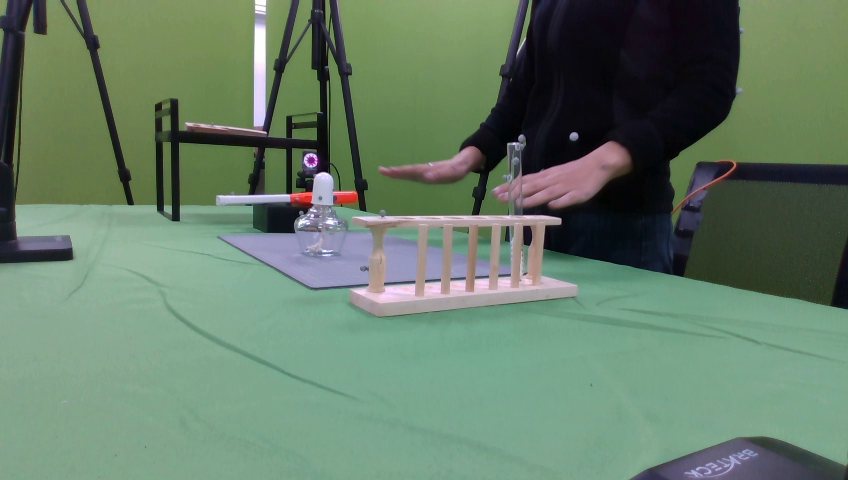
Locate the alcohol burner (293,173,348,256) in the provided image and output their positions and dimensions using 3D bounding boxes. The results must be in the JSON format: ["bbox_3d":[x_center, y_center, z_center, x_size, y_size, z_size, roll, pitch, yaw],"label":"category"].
[{"bbox_3d":[-0.146,-0.036,0.859,0.078,0.119,0.078,4,8,0],"label":"alcohol burner"}]

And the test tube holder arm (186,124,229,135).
[{"bbox_3d":[-0.465,-0.236,1.300,0.088,0.015,0.010,-2,47,-41],"label":"test tube holder arm"}]

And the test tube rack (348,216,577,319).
[{"bbox_3d":[0.048,0.021,0.619,0.244,0.085,0.066,-2,9,-31],"label":"test tube rack"}]

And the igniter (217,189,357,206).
[{"bbox_3d":[-0.251,-0.081,1.155,0.278,0.025,0.057,-5,8,-33],"label":"igniter"}]

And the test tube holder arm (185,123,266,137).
[{"bbox_3d":[-0.434,-0.242,1.333,0.179,0.015,0.013,-3,48,-43],"label":"test tube holder arm"}]

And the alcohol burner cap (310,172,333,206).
[{"bbox_3d":[-0.143,-0.071,0.854,0.034,0.048,0.034,4,9,0],"label":"alcohol burner cap"}]

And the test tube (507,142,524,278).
[{"bbox_3d":[0.101,-0.032,0.666,0.017,0.150,0.017,-2,6,1],"label":"test tube"}]
